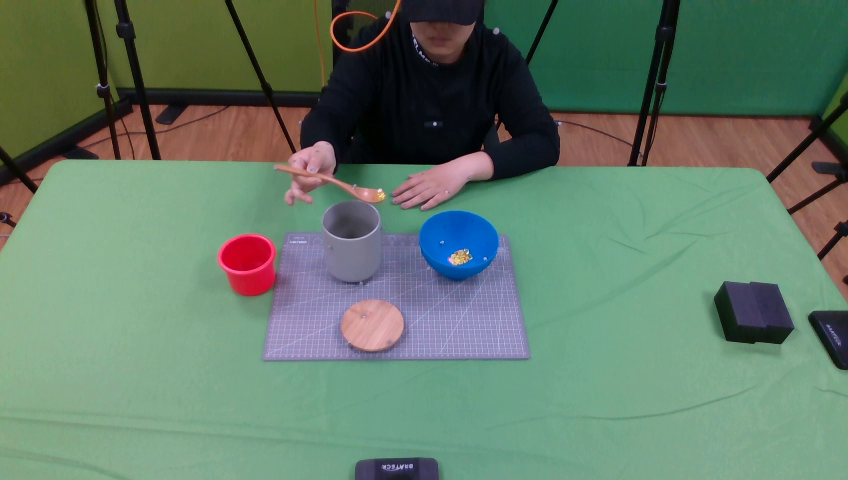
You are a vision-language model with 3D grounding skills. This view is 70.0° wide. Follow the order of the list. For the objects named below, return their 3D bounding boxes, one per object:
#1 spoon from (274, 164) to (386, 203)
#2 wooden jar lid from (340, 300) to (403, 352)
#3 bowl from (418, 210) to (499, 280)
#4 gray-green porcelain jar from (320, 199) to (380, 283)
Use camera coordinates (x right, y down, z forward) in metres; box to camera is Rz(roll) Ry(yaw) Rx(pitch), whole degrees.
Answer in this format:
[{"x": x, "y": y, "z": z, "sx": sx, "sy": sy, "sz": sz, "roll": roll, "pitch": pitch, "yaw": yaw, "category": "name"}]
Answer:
[{"x": -0.157, "y": -0.099, "z": 1.024, "sx": 0.194, "sy": 0.022, "sz": 0.041, "roll": 19, "pitch": 37, "yaw": -20, "category": "spoon"}, {"x": -0.090, "y": 0.150, "z": 1.046, "sx": 0.108, "sy": 0.021, "sz": 0.107, "roll": 3, "pitch": 47, "yaw": -3, "category": "wooden jar lid"}, {"x": 0.062, "y": 0.022, "z": 1.141, "sx": 0.151, "sy": 0.077, "sz": 0.150, "roll": 2, "pitch": 46, "yaw": -2, "category": "bowl"}, {"x": -0.132, "y": 0.007, "z": 1.106, "sx": 0.106, "sy": 0.127, "sz": 0.105, "roll": 2, "pitch": 46, "yaw": -2, "category": "gray-green porcelain jar"}]
